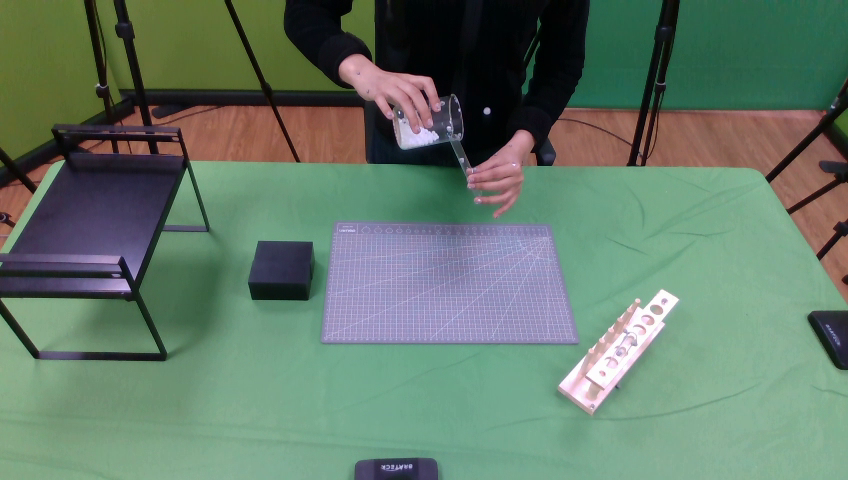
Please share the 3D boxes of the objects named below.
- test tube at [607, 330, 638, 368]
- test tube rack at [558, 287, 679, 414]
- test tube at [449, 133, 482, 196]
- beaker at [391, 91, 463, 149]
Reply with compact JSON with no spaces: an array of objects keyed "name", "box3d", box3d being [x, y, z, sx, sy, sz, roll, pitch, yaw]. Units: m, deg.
[{"name":"test tube","box3d":[0.292,0.184,0.924,0.017,0.151,0.017,4,48,-4]},{"name":"test tube rack","box3d":[0.326,0.170,1.009,0.066,0.085,0.242,36,54,26]},{"name":"test tube","box3d":[0.074,-0.126,1.040,0.017,0.151,0.017,-13,50,16]},{"name":"beaker","box3d":[0.003,-0.184,0.950,0.100,0.084,0.073,-12,53,-8]}]
